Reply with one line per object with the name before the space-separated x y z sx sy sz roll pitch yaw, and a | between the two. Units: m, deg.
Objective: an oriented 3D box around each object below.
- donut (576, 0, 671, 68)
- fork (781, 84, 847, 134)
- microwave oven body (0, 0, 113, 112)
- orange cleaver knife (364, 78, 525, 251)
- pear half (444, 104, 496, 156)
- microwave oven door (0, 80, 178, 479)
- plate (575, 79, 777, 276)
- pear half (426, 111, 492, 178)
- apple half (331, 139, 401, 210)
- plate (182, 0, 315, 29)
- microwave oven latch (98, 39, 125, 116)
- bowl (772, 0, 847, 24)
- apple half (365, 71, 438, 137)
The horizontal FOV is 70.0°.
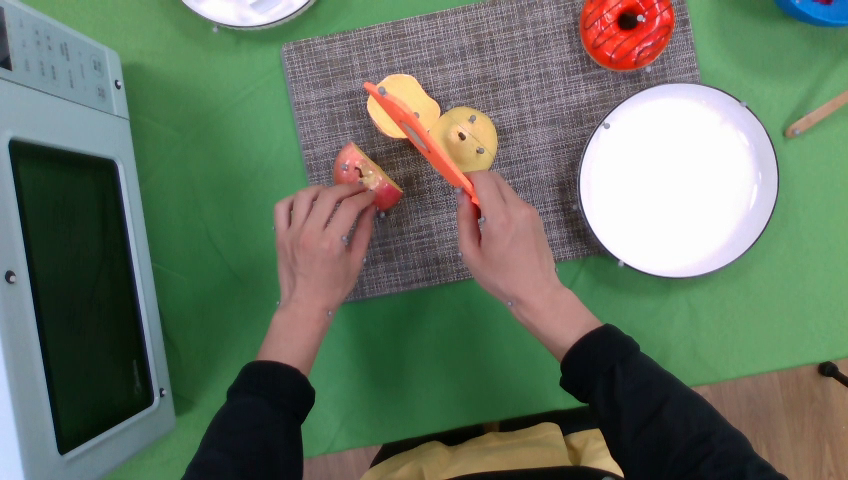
donut | 0.212 -0.234 0.648 0.099 0.048 0.099 0 93 6
fork | 0.466 -0.177 0.619 0.207 0.018 0.028 -39 97 24
microwave oven body | -0.482 0.021 0.589 0.326 0.260 0.441 -8 92 3
orange cleaver knife | 0.021 -0.065 0.553 0.012 0.076 0.213 -45 120 -1
pear half | 0.054 -0.122 0.639 0.070 0.088 0.031 37 94 7
microwave oven door | -0.332 0.043 0.576 0.039 0.244 0.355 -9 91 4
plate | 0.267 -0.066 0.655 0.209 0.038 0.209 0 92 3
pear half | 0.030 -0.095 0.631 0.076 0.110 0.056 38 93 6
apple half | -0.069 -0.063 0.656 0.081 0.074 0.053 44 96 -1
plate | -0.191 -0.336 0.673 0.207 0.039 0.207 0 92 3
microwave oven latch | -0.355 -0.178 0.670 0.030 0.029 0.079 -7 93 3
bowl | 0.409 -0.289 0.622 0.151 0.077 0.151 0 93 3
apple half | -0.029 -0.142 0.667 0.081 0.033 0.081 4 72 -12
